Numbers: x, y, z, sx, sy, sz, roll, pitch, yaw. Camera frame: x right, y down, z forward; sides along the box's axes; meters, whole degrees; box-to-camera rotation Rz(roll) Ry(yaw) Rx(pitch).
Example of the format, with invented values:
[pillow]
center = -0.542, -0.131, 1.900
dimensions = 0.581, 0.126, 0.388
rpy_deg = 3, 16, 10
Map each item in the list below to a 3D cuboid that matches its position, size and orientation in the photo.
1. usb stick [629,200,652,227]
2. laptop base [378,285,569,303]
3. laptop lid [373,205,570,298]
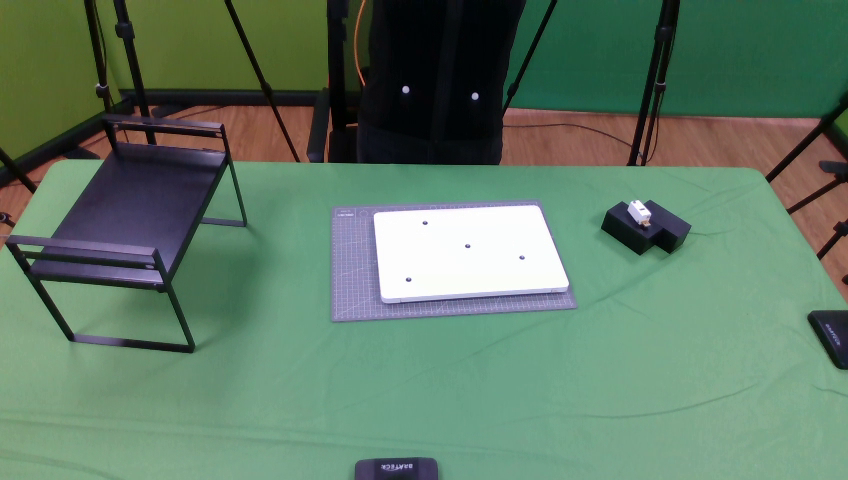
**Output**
[usb stick]
center = 0.433, -0.051, 1.203
dimensions = 0.021, 0.027, 0.059
rpy_deg = -11, 50, -14
[laptop base]
center = 0.083, 0.025, 1.181
dimensions = 0.355, 0.023, 0.234
rpy_deg = -3, 43, -7
[laptop lid]
center = 0.083, 0.014, 1.174
dimensions = 0.357, 0.013, 0.240
rpy_deg = -2, 44, -6
